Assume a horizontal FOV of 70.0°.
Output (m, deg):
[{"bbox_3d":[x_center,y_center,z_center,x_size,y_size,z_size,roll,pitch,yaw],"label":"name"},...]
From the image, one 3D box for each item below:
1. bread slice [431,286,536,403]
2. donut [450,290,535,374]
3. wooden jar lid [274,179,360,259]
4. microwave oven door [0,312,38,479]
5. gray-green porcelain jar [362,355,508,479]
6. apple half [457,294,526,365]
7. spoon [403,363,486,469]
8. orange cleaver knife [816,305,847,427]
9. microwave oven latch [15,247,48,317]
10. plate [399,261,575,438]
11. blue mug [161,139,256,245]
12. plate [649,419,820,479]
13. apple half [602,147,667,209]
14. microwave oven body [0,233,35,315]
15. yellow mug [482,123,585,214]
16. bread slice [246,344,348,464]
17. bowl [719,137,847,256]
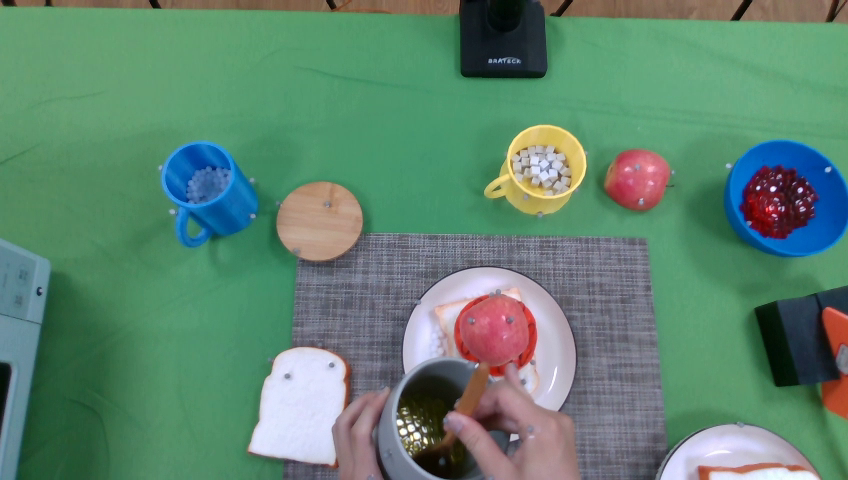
[{"bbox_3d":[0.078,0.129,0.727,0.107,0.018,0.133,-16,75,-5],"label":"bread slice"},{"bbox_3d":[0.079,0.107,0.702,0.099,0.048,0.098,1,75,-2],"label":"donut"},{"bbox_3d":[-0.134,-0.025,0.769,0.108,0.021,0.107,0,72,-1],"label":"wooden jar lid"},{"bbox_3d":[-0.471,0.233,0.557,0.039,0.245,0.353,1,74,-1],"label":"microwave oven door"},{"bbox_3d":[0.003,0.173,0.552,0.106,0.127,0.105,9,61,-16],"label":"gray-green porcelain jar"},{"bbox_3d":[0.077,0.096,0.667,0.081,0.033,0.081,-1,73,5],"label":"apple half"},{"bbox_3d":[0.019,0.153,0.508,0.041,0.195,0.021,20,51,-2],"label":"spoon"},{"bbox_3d":[0.490,0.182,0.705,0.012,0.077,0.211,-9,97,-11],"label":"orange cleaver knife"},{"bbox_3d":[-0.468,0.049,0.712,0.030,0.029,0.078,5,75,-1],"label":"microwave oven latch"},{"bbox_3d":[0.074,0.130,0.724,0.208,0.039,0.206,1,75,-2],"label":"plate"},{"bbox_3d":[-0.263,-0.048,0.730,0.082,0.106,0.116,21,75,4],"label":"blue mug"},{"bbox_3d":[0.352,0.311,0.688,0.209,0.038,0.208,1,75,-1],"label":"plate"},{"bbox_3d":[0.277,-0.087,0.787,0.074,0.053,0.080,22,75,7],"label":"apple half"},{"bbox_3d":[-0.615,0.190,0.568,0.326,0.261,0.439,1,75,-2],"label":"microwave oven body"},{"bbox_3d":[0.134,-0.085,0.774,0.131,0.064,0.099,-22,76,-7],"label":"yellow mug"},{"bbox_3d":[-0.146,0.188,0.712,0.105,0.019,0.131,8,75,0],"label":"bread slice"},{"bbox_3d":[0.438,-0.045,0.767,0.151,0.077,0.150,0,75,-1],"label":"bowl"}]
